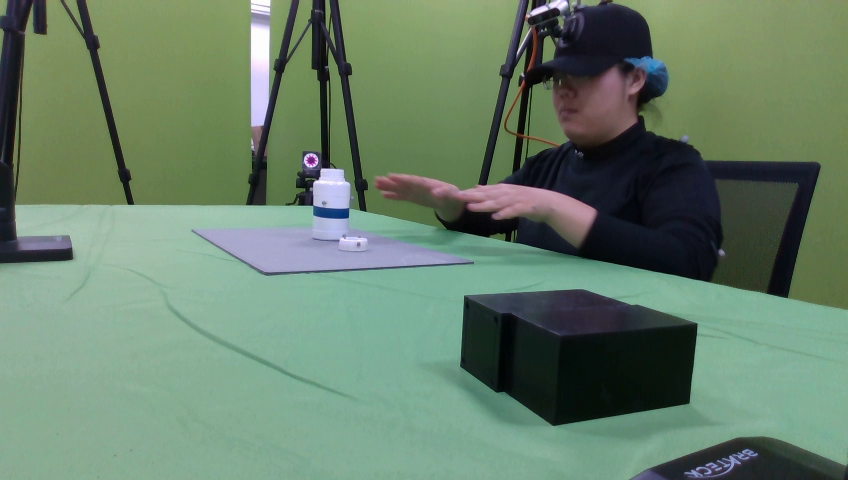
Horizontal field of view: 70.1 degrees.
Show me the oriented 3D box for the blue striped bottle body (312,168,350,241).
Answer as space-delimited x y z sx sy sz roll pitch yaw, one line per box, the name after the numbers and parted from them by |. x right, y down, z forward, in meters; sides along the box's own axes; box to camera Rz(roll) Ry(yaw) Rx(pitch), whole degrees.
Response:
-0.157 -0.062 1.025 0.063 0.120 0.063 3 7 0 | blue striped bottle body

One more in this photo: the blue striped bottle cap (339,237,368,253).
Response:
-0.107 0.007 0.920 0.044 0.020 0.044 1 7 0 | blue striped bottle cap
